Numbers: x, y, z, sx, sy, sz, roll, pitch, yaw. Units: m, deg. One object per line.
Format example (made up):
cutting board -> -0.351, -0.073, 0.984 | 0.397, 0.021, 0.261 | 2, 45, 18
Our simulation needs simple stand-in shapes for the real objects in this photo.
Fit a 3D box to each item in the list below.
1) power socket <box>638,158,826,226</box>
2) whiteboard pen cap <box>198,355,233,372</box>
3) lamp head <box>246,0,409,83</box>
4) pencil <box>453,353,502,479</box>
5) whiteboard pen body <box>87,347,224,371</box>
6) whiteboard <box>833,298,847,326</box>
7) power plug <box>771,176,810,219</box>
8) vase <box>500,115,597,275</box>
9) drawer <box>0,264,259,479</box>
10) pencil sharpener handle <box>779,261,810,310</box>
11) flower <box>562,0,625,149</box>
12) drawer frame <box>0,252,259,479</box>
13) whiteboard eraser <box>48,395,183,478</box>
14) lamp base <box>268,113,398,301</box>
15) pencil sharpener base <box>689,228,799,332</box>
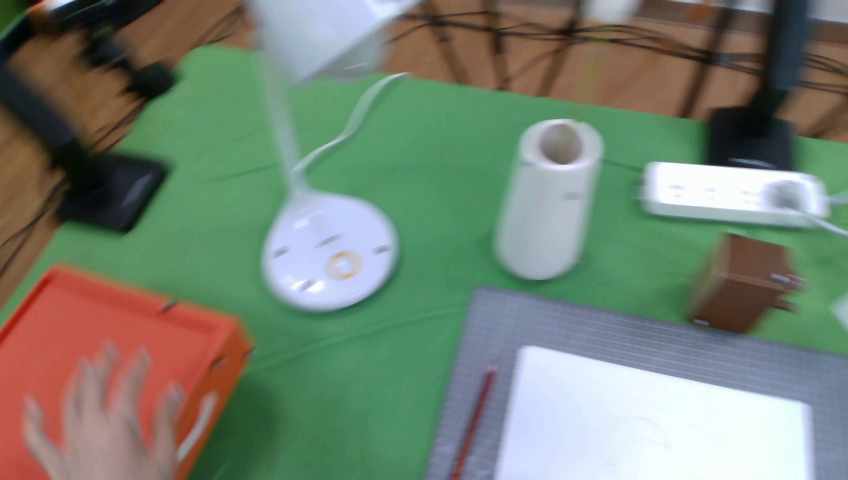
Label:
power socket -> 0.394, -0.062, 0.775 | 0.226, 0.033, 0.071 | 6, 58, 5
whiteboard pen cap -> -0.212, 0.125, 0.613 | 0.033, 0.018, 0.018 | -1, 56, 11
lamp head -> -0.087, -0.192, 0.440 | 0.112, 0.112, 0.123 | -44, 104, -24
pencil -> 0.051, 0.200, 0.624 | 0.012, 0.012, 0.193 | 17, 57, 13
whiteboard pen body -> -0.273, 0.122, 0.616 | 0.141, 0.017, 0.017 | 4, 56, 2
whiteboard -> 0.613, 0.061, 0.561 | 0.144, 0.307, 0.215 | -6, 54, -25
power plug -> 0.440, -0.046, 0.735 | 0.035, 0.053, 0.072 | 15, 60, 12
vase -> 0.136, -0.045, 0.672 | 0.098, 0.202, 0.097 | -2, 56, 3
drawer -> -0.300, 0.135, 0.583 | 0.211, 0.074, 0.193 | 15, 59, 11
pencil sharpener handle -> 0.395, 0.052, 0.641 | 0.030, 0.068, 0.036 | 13, 57, 10
flower -> 0.145, -0.104, 0.612 | 0.038, 0.364, 0.043 | 2, 38, -5
drawer frame -> -0.306, 0.136, 0.586 | 0.213, 0.083, 0.200 | 16, 59, 10
whiteboard eraser -> -0.288, 0.185, 0.571 | 0.112, 0.042, 0.055 | 7, 50, 15
lamp base -> -0.123, -0.046, 0.691 | 0.160, 0.182, 0.177 | -37, 60, -21
pencil sharpener base -> 0.346, 0.047, 0.660 | 0.076, 0.108, 0.061 | 13, 58, 10
